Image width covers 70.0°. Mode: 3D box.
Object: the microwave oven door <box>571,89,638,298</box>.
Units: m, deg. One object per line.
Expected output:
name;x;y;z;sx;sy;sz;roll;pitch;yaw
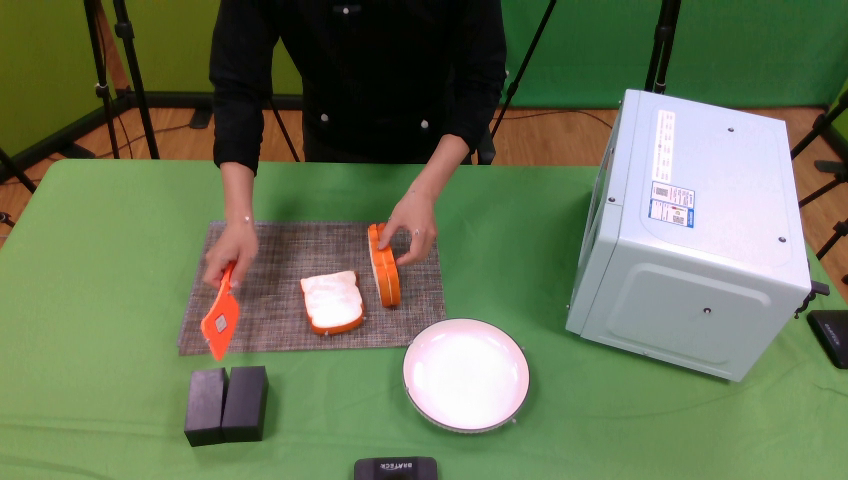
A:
microwave oven door;0.342;-0.091;1.132;0.039;0.245;0.354;15;47;10

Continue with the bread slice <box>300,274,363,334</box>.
bread slice;-0.164;0.113;1.076;0.107;0.018;0.133;-11;38;-7

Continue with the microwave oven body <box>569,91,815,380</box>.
microwave oven body;0.468;-0.022;1.082;0.325;0.261;0.440;15;46;11

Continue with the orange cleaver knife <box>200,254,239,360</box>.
orange cleaver knife;-0.324;0.104;0.993;0.012;0.077;0.210;-15;35;7

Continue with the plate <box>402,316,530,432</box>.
plate;0.066;0.217;0.982;0.208;0.039;0.206;2;46;-2

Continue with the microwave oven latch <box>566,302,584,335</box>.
microwave oven latch;0.268;0.126;1.059;0.030;0.029;0.079;16;46;12
